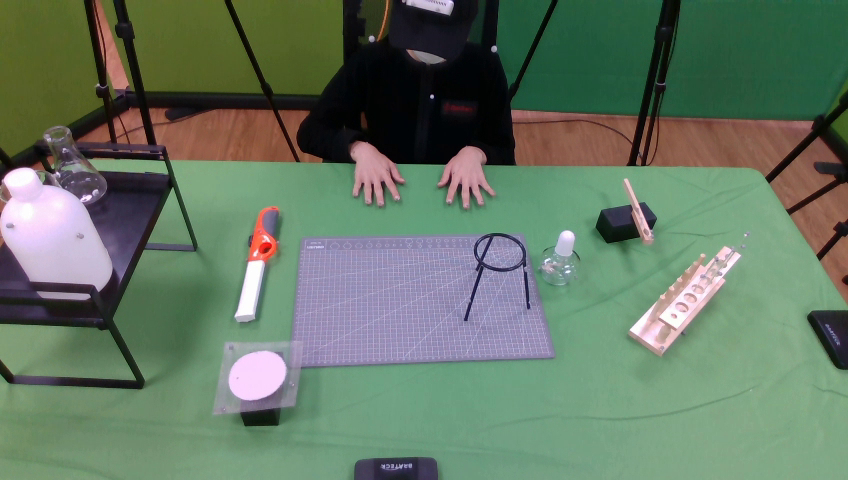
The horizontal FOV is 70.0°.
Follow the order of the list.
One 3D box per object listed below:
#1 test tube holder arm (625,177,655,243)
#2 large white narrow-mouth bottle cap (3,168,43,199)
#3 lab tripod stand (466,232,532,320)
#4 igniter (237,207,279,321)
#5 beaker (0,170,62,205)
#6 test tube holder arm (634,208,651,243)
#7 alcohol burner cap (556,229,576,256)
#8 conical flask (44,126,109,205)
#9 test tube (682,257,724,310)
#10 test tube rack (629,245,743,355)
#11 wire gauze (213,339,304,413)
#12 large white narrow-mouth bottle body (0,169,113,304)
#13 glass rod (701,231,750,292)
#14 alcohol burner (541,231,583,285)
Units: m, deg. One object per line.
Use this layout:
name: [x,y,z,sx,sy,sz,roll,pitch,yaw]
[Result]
test tube holder arm: [0.433,-0.063,1.220,0.013,0.015,0.177,1,47,-3]
large white narrow-mouth bottle cap: [-0.489,-0.069,0.739,0.038,0.024,0.037,2,46,-2]
lab tripod stand: [0.125,0.059,1.065,0.148,0.132,0.147,1,45,0]
igniter: [-0.309,0.036,1.136,0.057,0.025,0.274,-7,45,4]
beaker: [-0.562,-0.042,0.894,0.084,0.101,0.073,-2,47,-7]
test tube holder arm: [0.428,-0.030,1.189,0.010,0.015,0.087,1,47,-2]
alcohol burner cap: [0.260,0.002,1.098,0.034,0.048,0.033,3,40,-2]
conical flask: [-0.554,-0.119,0.953,0.075,0.122,0.075,2,46,-2]
test tube: [0.475,0.080,1.037,0.017,0.151,0.017,2,51,-2]
test tube rack: [0.474,0.095,1.091,0.242,0.085,0.066,-34,56,-31]
wire gauze: [-0.250,0.203,0.924,0.121,0.011,0.124,-1,46,-3]
large white narrow-mouth bottle body: [-0.492,-0.010,0.801,0.102,0.195,0.101,2,46,-2]
glass rod: [0.519,0.045,1.050,0.008,0.201,0.008,0,55,0]
alcohol burner: [0.258,0.028,1.123,0.078,0.120,0.077,1,48,-1]
